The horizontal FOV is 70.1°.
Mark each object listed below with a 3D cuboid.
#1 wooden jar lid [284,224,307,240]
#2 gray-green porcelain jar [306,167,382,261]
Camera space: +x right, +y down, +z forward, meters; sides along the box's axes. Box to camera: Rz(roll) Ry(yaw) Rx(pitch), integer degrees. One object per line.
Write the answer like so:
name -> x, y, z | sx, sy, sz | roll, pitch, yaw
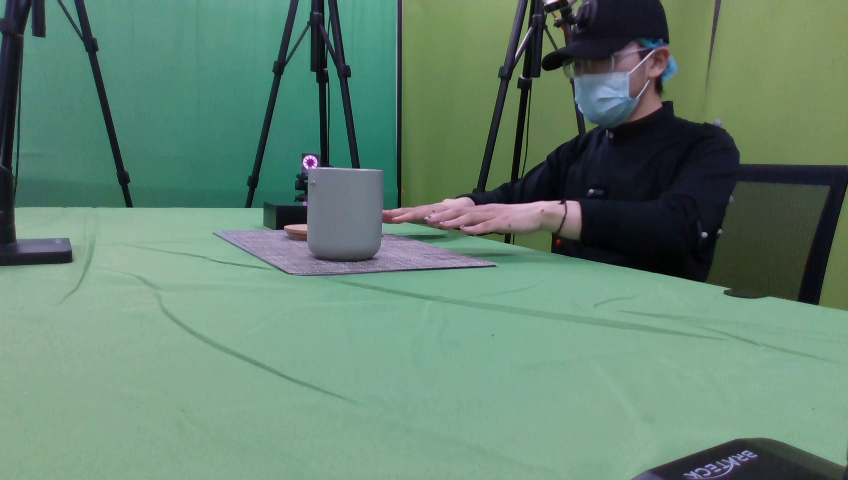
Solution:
wooden jar lid -> -0.190, -0.014, 1.057 | 0.108, 0.020, 0.108 | 2, 6, 0
gray-green porcelain jar -> -0.112, -0.039, 0.850 | 0.106, 0.126, 0.106 | 2, 7, 0
